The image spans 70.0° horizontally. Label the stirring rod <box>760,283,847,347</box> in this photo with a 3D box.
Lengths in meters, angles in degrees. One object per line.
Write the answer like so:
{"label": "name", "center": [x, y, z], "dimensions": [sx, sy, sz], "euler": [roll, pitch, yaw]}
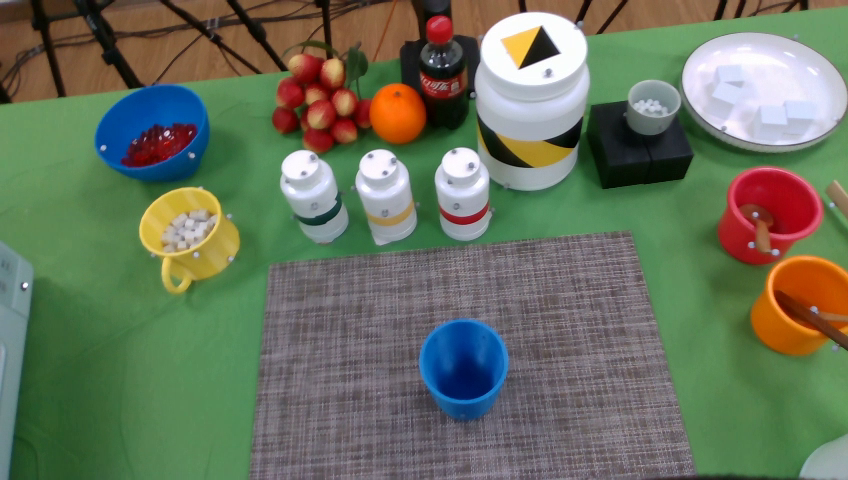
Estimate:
{"label": "stirring rod", "center": [0.383, 0.075, 0.597], "dimensions": [0.014, 0.006, 0.175], "euler": [-4, 16, 2]}

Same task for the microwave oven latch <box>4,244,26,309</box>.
{"label": "microwave oven latch", "center": [-0.506, 0.046, 0.736], "dimensions": [0.030, 0.030, 0.078], "euler": [-12, 60, -2]}

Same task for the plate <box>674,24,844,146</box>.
{"label": "plate", "center": [0.440, -0.205, 0.810], "dimensions": [0.209, 0.038, 0.207], "euler": [-2, 60, 4]}

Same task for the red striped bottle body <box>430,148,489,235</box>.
{"label": "red striped bottle body", "center": [0.043, -0.062, 0.719], "dimensions": [0.063, 0.121, 0.062], "euler": [-4, 58, 7]}

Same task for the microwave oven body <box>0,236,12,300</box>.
{"label": "microwave oven body", "center": [-0.619, 0.179, 0.558], "dimensions": [0.326, 0.262, 0.437], "euler": [-14, 60, -3]}

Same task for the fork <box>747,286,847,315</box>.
{"label": "fork", "center": [0.412, 0.073, 0.587], "dimensions": [0.028, 0.019, 0.206], "euler": [-40, 20, -16]}

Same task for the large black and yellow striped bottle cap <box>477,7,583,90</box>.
{"label": "large black and yellow striped bottle cap", "center": [0.115, -0.212, 0.663], "dimensions": [0.115, 0.019, 0.114], "euler": [-3, 59, 5]}

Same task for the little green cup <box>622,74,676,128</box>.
{"label": "little green cup", "center": [0.274, -0.170, 0.747], "dimensions": [0.061, 0.039, 0.061], "euler": [-2, 58, 3]}

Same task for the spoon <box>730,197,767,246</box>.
{"label": "spoon", "center": [0.353, -0.022, 0.651], "dimensions": [0.041, 0.194, 0.022], "euler": [24, 110, 19]}

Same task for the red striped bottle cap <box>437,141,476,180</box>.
{"label": "red striped bottle cap", "center": [0.036, -0.089, 0.674], "dimensions": [0.044, 0.018, 0.044], "euler": [0, 58, 1]}

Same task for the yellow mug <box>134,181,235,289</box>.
{"label": "yellow mug", "center": [-0.298, -0.002, 0.748], "dimensions": [0.100, 0.064, 0.130], "euler": [3, 61, 7]}

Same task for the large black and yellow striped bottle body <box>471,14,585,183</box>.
{"label": "large black and yellow striped bottle body", "center": [0.124, -0.170, 0.737], "dimensions": [0.131, 0.185, 0.129], "euler": [-2, 60, 5]}

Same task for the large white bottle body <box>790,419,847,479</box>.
{"label": "large white bottle body", "center": [0.404, 0.199, 0.493], "dimensions": [0.130, 0.186, 0.129], "euler": [-2, 59, 5]}

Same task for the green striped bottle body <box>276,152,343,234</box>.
{"label": "green striped bottle body", "center": [-0.140, -0.062, 0.737], "dimensions": [0.063, 0.120, 0.062], "euler": [-2, 60, 4]}

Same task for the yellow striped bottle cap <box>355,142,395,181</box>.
{"label": "yellow striped bottle cap", "center": [-0.056, -0.089, 0.684], "dimensions": [0.044, 0.019, 0.044], "euler": [-2, 61, 4]}

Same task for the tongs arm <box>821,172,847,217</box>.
{"label": "tongs arm", "center": [0.559, 0.074, 0.637], "dimensions": [0.051, 0.027, 0.381], "euler": [-16, 60, -6]}

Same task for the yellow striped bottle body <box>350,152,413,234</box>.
{"label": "yellow striped bottle body", "center": [-0.051, -0.063, 0.728], "dimensions": [0.063, 0.121, 0.062], "euler": [-3, 59, 5]}

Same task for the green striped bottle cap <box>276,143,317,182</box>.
{"label": "green striped bottle cap", "center": [-0.146, -0.089, 0.692], "dimensions": [0.044, 0.020, 0.044], "euler": [-1, 60, 3]}

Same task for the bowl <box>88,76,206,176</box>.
{"label": "bowl", "center": [-0.363, -0.141, 0.829], "dimensions": [0.151, 0.077, 0.150], "euler": [-2, 60, 4]}

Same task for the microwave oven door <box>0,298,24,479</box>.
{"label": "microwave oven door", "center": [-0.468, 0.178, 0.538], "dimensions": [0.039, 0.246, 0.352], "euler": [-14, 59, -2]}

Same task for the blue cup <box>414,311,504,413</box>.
{"label": "blue cup", "center": [0.036, 0.132, 0.613], "dimensions": [0.092, 0.101, 0.092], "euler": [-2, 59, 3]}
